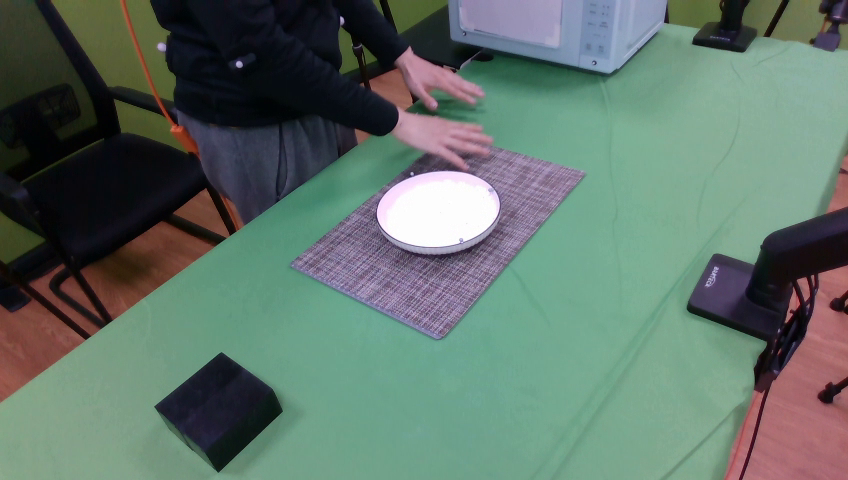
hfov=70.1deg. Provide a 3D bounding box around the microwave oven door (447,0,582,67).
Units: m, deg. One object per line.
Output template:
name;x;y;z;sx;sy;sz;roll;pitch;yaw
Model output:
microwave oven door;0.203;-0.544;1.373;0.353;0.245;0.039;23;49;29

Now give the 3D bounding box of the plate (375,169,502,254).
plate;0.024;-0.044;0.998;0.209;0.038;0.208;-4;41;4

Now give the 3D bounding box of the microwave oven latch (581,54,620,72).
microwave oven latch;0.386;-0.393;1.330;0.078;0.029;0.030;25;51;32

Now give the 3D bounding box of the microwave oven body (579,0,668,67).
microwave oven body;0.325;-0.609;1.437;0.438;0.261;0.327;23;50;30
